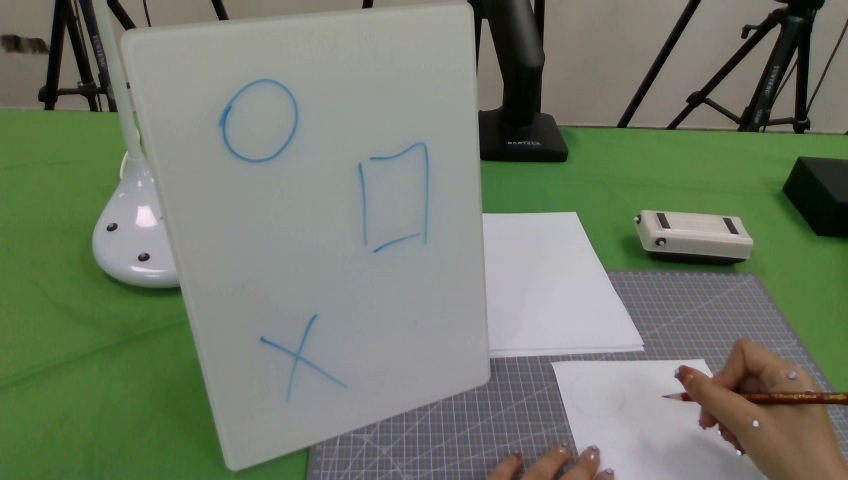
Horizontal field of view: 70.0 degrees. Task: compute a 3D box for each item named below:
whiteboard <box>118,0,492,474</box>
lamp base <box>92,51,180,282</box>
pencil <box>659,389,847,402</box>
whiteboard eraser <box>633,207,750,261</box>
[{"bbox_3d":[-0.080,-0.017,0.476,0.218,0.307,0.142,-13,23,-20],"label":"whiteboard"},{"bbox_3d":[-0.260,-0.078,0.584,0.177,0.182,0.160,28,44,29],"label":"lamp base"},{"bbox_3d":[0.242,0.103,0.402,0.012,0.012,0.193,-33,9,-37],"label":"pencil"},{"bbox_3d":[0.292,-0.006,0.666,0.113,0.042,0.055,5,40,0],"label":"whiteboard eraser"}]
